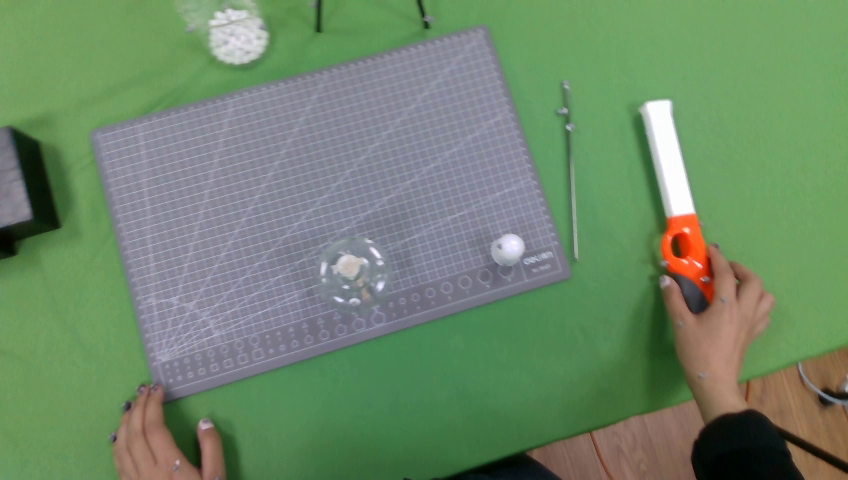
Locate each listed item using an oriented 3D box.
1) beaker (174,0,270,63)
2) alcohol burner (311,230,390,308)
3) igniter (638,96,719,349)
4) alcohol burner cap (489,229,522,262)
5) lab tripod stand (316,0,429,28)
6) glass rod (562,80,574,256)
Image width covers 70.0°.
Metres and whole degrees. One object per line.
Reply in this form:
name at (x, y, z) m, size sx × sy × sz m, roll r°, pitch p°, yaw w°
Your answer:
beaker at (-0.200, -0.233, 0.625) m, size 0.084 × 0.100 × 0.074 m, roll 29°, pitch 82°, yaw 1°
alcohol burner at (-0.072, 0.026, 0.588) m, size 0.078 × 0.119 × 0.077 m, roll 0°, pitch 80°, yaw -2°
igniter at (0.276, -0.021, 0.658) m, size 0.057 × 0.025 × 0.275 m, roll -8°, pitch 83°, yaw -13°
alcohol burner cap at (0.087, 0.004, 0.635) m, size 0.034 × 0.048 × 0.033 m, roll 0°, pitch 81°, yaw -1°
lab tripod stand at (-0.059, -0.290, 0.622) m, size 0.148 × 0.132 × 0.148 m, roll 0°, pitch 81°, yaw -1°
glass rod at (0.158, -0.081, 0.670) m, size 0.008 × 0.008 × 0.199 m, roll 0°, pitch 83°, yaw -3°
